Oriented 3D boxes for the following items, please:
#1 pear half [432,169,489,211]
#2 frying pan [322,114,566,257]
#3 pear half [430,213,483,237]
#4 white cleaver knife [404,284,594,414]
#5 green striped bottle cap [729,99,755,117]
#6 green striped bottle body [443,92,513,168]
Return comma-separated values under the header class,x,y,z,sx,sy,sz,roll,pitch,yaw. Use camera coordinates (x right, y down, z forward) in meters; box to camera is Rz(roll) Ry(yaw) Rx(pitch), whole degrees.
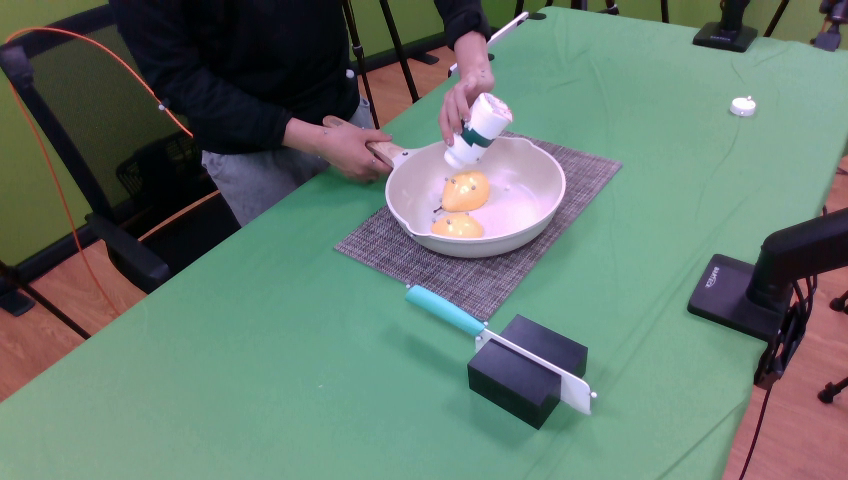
class,x,y,z,sx,sy,sz,roll,pitch,yaw
pear half,0.057,-0.083,1.024,0.110,0.056,0.075,-32,41,-25
frying pan,0.004,-0.121,1.039,0.484,0.103,0.308,31,52,25
pear half,0.051,-0.024,0.973,0.087,0.031,0.070,15,41,18
white cleaver knife,0.084,0.135,0.764,0.284,0.066,0.021,28,47,31
green striped bottle cap,0.623,-0.259,1.183,0.044,0.020,0.044,-3,41,3
green striped bottle body,0.080,-0.168,0.952,0.063,0.119,0.063,27,35,-21
